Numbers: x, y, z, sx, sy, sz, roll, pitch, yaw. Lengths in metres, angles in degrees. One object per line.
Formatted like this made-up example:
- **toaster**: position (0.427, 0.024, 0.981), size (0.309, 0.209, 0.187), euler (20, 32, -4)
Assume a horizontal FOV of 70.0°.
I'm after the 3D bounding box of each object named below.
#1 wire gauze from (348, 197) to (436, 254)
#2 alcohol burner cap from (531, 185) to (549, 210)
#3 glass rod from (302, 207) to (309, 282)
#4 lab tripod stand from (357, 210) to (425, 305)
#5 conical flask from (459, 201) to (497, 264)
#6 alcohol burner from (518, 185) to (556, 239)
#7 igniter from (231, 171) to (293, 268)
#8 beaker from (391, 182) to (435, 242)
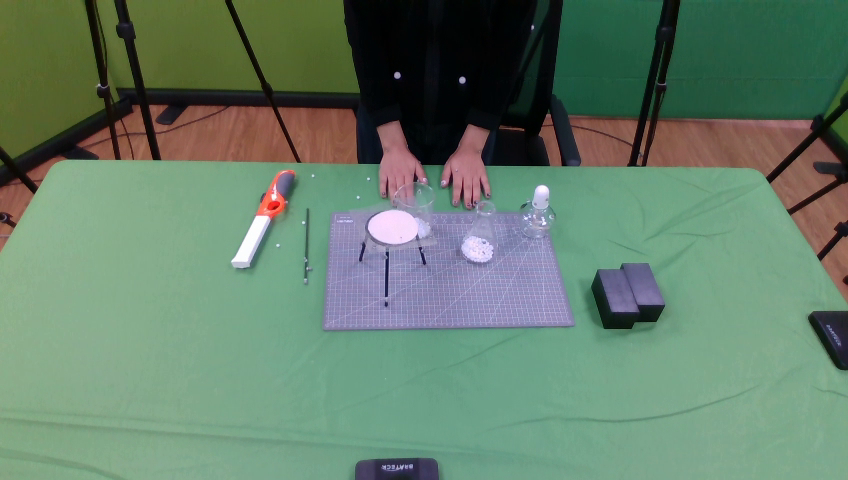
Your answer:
- **wire gauze**: position (-0.056, -0.026, 1.045), size (0.125, 0.011, 0.120), euler (-12, 46, -17)
- **alcohol burner cap**: position (0.228, -0.085, 1.183), size (0.034, 0.048, 0.033), euler (-2, 48, 2)
- **glass rod**: position (-0.231, 0.004, 1.187), size (0.008, 0.008, 0.198), euler (-2, 47, -6)
- **lab tripod stand**: position (-0.060, 0.020, 1.094), size (0.148, 0.132, 0.147), euler (3, 44, -2)
- **conical flask**: position (0.109, -0.018, 1.153), size (0.075, 0.122, 0.075), euler (2, 46, -2)
- **alcohol burner**: position (0.227, -0.061, 1.210), size (0.078, 0.120, 0.077), euler (1, 44, -1)
- **igniter**: position (-0.321, -0.050, 1.220), size (0.057, 0.025, 0.275), euler (2, 45, 11)
- **beaker**: position (-0.023, -0.053, 1.192), size (0.084, 0.101, 0.073), euler (-2, 46, -5)
